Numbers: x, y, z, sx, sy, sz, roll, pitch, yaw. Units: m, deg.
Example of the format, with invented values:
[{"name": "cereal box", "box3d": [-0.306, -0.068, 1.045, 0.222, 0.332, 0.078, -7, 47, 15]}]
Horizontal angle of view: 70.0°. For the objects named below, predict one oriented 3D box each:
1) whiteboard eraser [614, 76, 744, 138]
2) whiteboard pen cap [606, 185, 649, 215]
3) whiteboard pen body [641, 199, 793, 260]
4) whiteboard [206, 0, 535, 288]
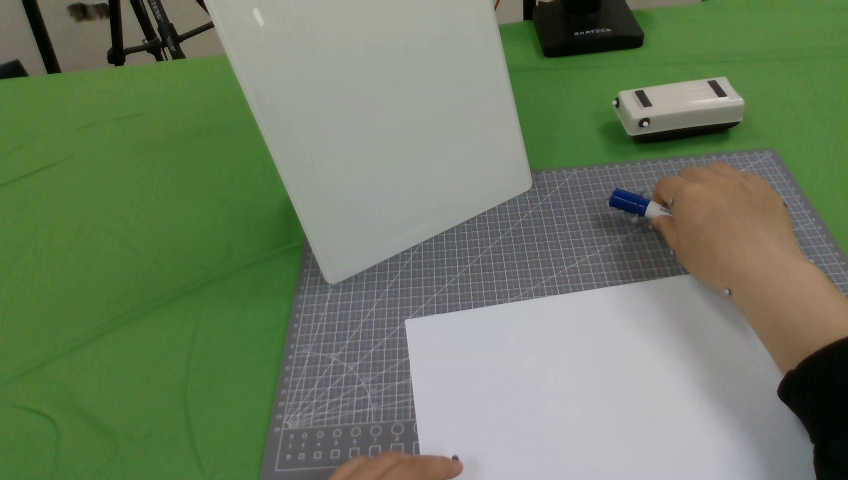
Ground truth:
[{"name": "whiteboard eraser", "box3d": [0.253, -0.131, 0.607, 0.113, 0.042, 0.055, -7, 48, 1]}, {"name": "whiteboard pen cap", "box3d": [0.175, -0.034, 0.520, 0.033, 0.018, 0.018, 26, 55, 22]}, {"name": "whiteboard pen body", "box3d": [0.226, -0.013, 0.499, 0.140, 0.017, 0.017, 21, 53, 22]}, {"name": "whiteboard", "box3d": [-0.057, -0.155, 0.533, 0.217, 0.308, 0.142, -26, 28, -15]}]
